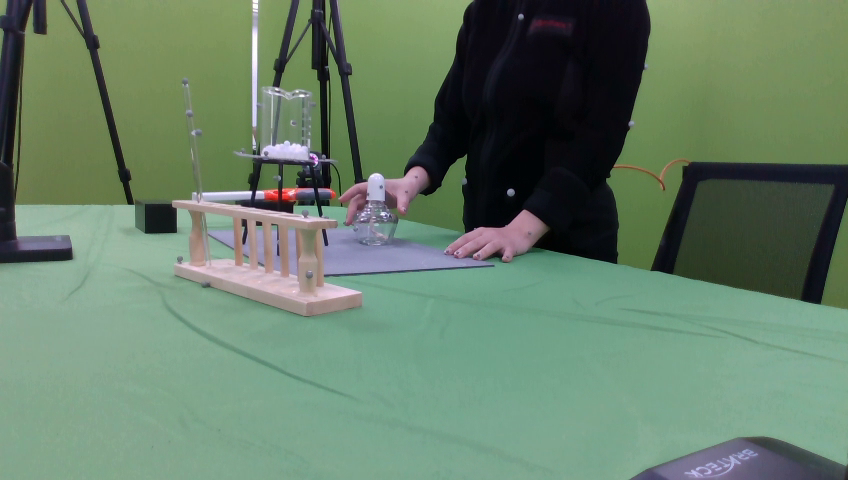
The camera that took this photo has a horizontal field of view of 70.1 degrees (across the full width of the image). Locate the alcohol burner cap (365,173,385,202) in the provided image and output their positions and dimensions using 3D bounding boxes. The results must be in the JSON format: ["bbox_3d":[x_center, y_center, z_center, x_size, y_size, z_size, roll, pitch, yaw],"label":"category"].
[{"bbox_3d":[-0.080,-0.086,0.990,0.034,0.048,0.034,1,2,0],"label":"alcohol burner cap"}]

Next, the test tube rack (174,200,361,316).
[{"bbox_3d":[-0.169,0.009,0.622,0.241,0.085,0.067,9,9,41],"label":"test tube rack"}]

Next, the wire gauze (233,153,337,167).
[{"bbox_3d":[-0.205,-0.119,0.887,0.122,0.011,0.124,2,4,-32],"label":"wire gauze"}]

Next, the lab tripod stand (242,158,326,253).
[{"bbox_3d":[-0.207,-0.054,0.895,0.148,0.131,0.148,3,5,0],"label":"lab tripod stand"}]

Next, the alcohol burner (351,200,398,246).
[{"bbox_3d":[-0.081,-0.051,0.995,0.078,0.119,0.078,1,6,0],"label":"alcohol burner"}]

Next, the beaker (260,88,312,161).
[{"bbox_3d":[-0.200,-0.166,0.876,0.074,0.100,0.083,1,7,-18],"label":"beaker"}]

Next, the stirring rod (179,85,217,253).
[{"bbox_3d":[-0.236,-0.073,0.634,0.006,0.176,0.014,0,10,42],"label":"stirring rod"}]

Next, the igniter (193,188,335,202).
[{"bbox_3d":[-0.312,-0.089,1.209,0.278,0.025,0.057,-5,13,-31],"label":"igniter"}]
